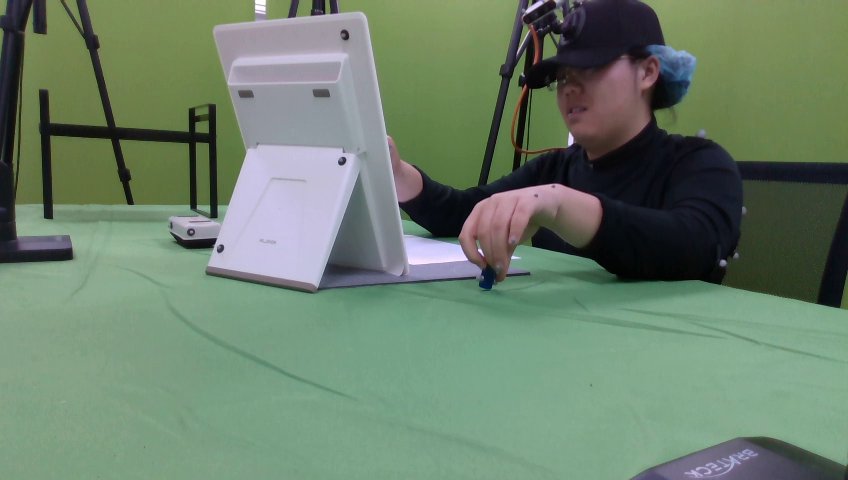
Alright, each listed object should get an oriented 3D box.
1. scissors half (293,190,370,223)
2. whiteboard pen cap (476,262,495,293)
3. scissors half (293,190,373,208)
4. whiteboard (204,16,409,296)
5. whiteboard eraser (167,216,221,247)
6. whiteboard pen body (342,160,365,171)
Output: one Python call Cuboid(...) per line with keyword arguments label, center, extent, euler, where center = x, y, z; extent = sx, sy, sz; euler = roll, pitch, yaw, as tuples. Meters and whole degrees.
Cuboid(label="scissors half", center=(-0.205, -0.077, 1.338), extent=(0.175, 0.040, 0.013), euler=(22, 11, -8))
Cuboid(label="whiteboard pen cap", center=(0.068, 0.042, 0.669), extent=(0.018, 0.033, 0.018), euler=(9, 12, -2))
Cuboid(label="scissors half", center=(-0.201, -0.096, 1.333), extent=(0.175, 0.040, 0.013), euler=(5, 18, -4))
Cuboid(label="whiteboard", center=(-0.166, -0.072, 0.669), extent=(0.216, 0.305, 0.144), euler=(8, 30, 30))
Cuboid(label="whiteboard eraser", center=(-0.350, -0.013, 0.920), extent=(0.056, 0.042, 0.112), euler=(0, 7, -35))
Cuboid(label="whiteboard pen body", center=(-0.108, -0.116, 0.941), extent=(0.017, 0.017, 0.140), euler=(0, 6, -18))
